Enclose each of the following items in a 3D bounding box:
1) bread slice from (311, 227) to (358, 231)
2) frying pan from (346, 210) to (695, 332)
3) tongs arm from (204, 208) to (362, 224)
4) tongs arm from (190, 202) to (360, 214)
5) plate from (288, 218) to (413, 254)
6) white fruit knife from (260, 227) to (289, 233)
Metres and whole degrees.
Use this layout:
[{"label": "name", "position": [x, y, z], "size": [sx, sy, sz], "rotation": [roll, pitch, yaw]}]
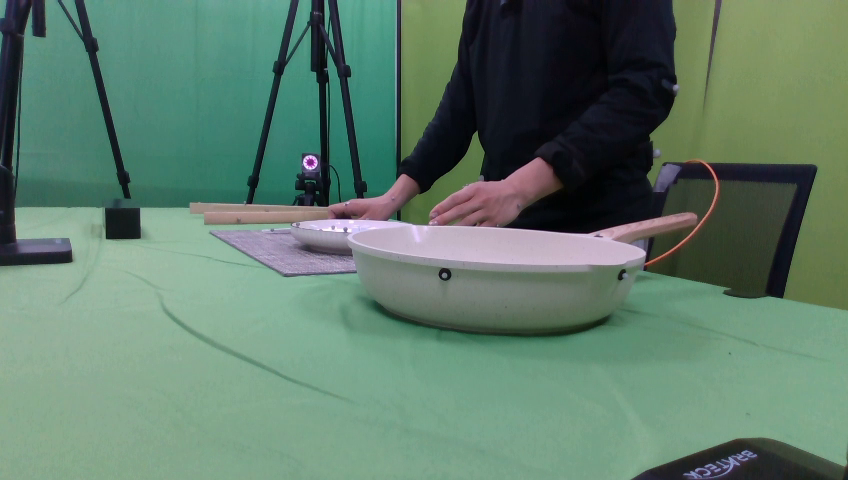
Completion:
[{"label": "bread slice", "position": [-0.115, -0.005, 0.950], "size": [0.134, 0.018, 0.107], "rotation": [3, 6, -7]}, {"label": "frying pan", "position": [0.153, 0.009, 0.668], "size": [0.490, 0.102, 0.305], "rotation": [-12, 15, -32]}, {"label": "tongs arm", "position": [-0.292, -0.054, 1.336], "size": [0.390, 0.028, 0.028], "rotation": [-4, 7, -40]}, {"label": "tongs arm", "position": [-0.334, -0.068, 1.403], "size": [0.387, 0.026, 0.050], "rotation": [0, 8, -27]}, {"label": "plate", "position": [-0.109, -0.007, 0.956], "size": [0.208, 0.039, 0.207], "rotation": [2, 7, 0]}, {"label": "white fruit knife", "position": [-0.205, -0.022, 1.136], "size": [0.208, 0.016, 0.027], "rotation": [-4, -19, -33]}]
